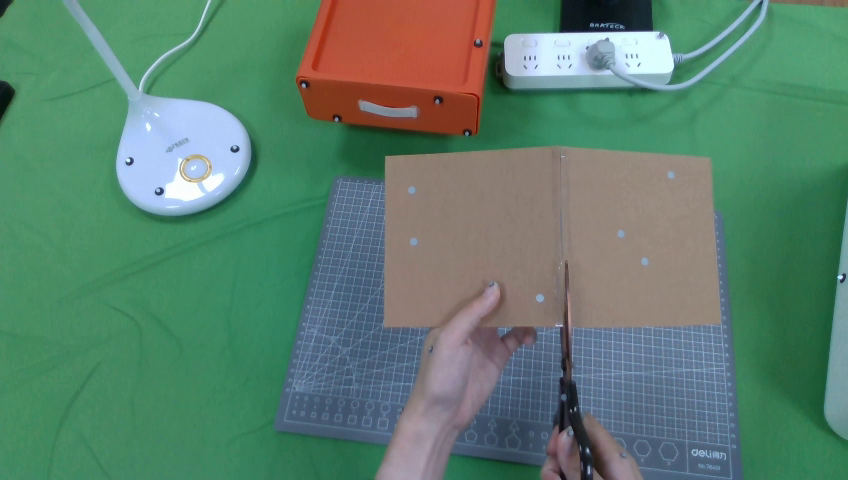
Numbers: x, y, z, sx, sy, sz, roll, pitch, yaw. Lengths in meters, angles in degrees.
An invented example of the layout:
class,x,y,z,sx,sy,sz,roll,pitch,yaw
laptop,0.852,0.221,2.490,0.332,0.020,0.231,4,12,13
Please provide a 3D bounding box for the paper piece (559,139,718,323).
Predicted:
class,x,y,z,sx,sy,sz,roll,pitch,yaw
paper piece,0.164,-0.006,0.460,0.136,0.004,0.135,2,84,-16

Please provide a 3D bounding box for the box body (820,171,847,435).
class,x,y,z,sx,sy,sz,roll,pitch,yaw
box body,0.542,0.037,0.557,0.253,0.161,0.362,18,67,11

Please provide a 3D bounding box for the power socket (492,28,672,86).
class,x,y,z,sx,sy,sz,roll,pitch,yaw
power socket,0.201,-0.233,0.772,0.227,0.033,0.071,0,65,2

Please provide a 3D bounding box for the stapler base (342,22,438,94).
class,x,y,z,sx,sy,sz,roll,pitch,yaw
stapler base,-0.044,-0.220,0.719,0.129,0.024,0.041,35,87,20

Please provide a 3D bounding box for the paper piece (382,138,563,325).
class,x,y,z,sx,sy,sz,roll,pitch,yaw
paper piece,0.034,-0.005,0.455,0.136,0.009,0.138,-1,86,12

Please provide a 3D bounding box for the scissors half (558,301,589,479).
class,x,y,z,sx,sy,sz,roll,pitch,yaw
scissors half,0.101,0.096,0.423,0.013,0.040,0.174,0,68,-1

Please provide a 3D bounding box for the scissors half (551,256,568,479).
class,x,y,z,sx,sy,sz,roll,pitch,yaw
scissors half,0.102,0.098,0.447,0.013,0.040,0.176,-1,103,3

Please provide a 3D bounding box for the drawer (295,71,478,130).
class,x,y,z,sx,sy,sz,roll,pitch,yaw
drawer,-0.026,-0.239,0.707,0.194,0.074,0.210,7,64,6

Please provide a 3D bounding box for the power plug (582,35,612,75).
class,x,y,z,sx,sy,sz,roll,pitch,yaw
power plug,0.209,-0.217,0.738,0.035,0.053,0.072,10,65,7

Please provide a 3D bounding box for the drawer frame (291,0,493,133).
class,x,y,z,sx,sy,sz,roll,pitch,yaw
drawer frame,-0.027,-0.241,0.708,0.201,0.083,0.212,7,64,6

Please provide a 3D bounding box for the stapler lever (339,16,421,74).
class,x,y,z,sx,sy,sz,roll,pitch,yaw
stapler lever,-0.052,-0.227,0.695,0.117,0.040,0.027,35,87,21

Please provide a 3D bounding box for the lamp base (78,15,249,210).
class,x,y,z,sx,sy,sz,roll,pitch,yaw
lamp base,-0.306,-0.148,0.668,0.178,0.182,0.160,37,71,21
